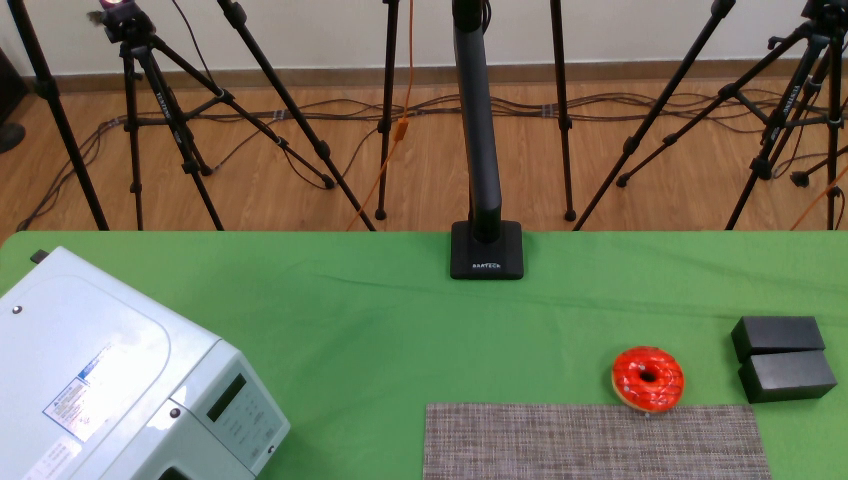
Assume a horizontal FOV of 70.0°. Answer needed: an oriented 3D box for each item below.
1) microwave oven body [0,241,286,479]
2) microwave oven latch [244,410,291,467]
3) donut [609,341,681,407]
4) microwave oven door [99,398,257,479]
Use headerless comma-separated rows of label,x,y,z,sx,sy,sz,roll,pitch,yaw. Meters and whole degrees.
microwave oven body,-0.436,0.276,0.702,0.324,0.262,0.440,24,60,19
microwave oven latch,-0.213,0.262,0.816,0.030,0.030,0.079,26,60,20
donut,0.309,0.187,0.848,0.099,0.049,0.098,-4,50,6
microwave oven door,-0.332,0.357,0.629,0.039,0.246,0.354,23,59,20
